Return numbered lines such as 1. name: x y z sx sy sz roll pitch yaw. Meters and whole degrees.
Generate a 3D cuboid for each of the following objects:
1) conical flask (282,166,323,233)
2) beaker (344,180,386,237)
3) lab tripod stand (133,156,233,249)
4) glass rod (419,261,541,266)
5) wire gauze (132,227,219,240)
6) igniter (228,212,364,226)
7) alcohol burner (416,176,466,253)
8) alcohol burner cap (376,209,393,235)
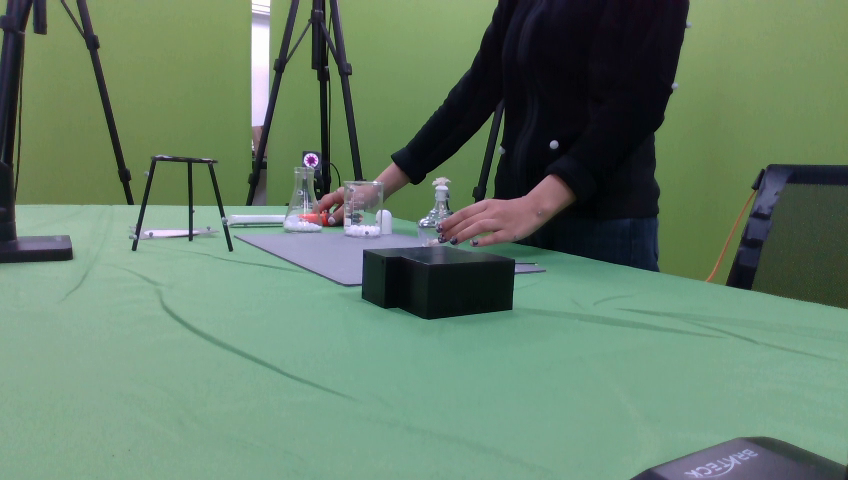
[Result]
1. conical flask: -0.225 -0.076 1.129 0.075 0.122 0.075 2 8 0
2. beaker: -0.111 -0.058 1.090 0.083 0.100 0.074 7 8 34
3. lab tripod stand: -0.342 -0.054 0.878 0.148 0.131 0.148 4 6 0
4. glass rod: 0.080 0.031 0.807 0.201 0.008 0.008 1 6 -32
5. wire gauze: -0.421 -0.014 1.024 0.122 0.011 0.124 -2 7 -34
6. igniter: -0.253 -0.043 1.228 0.278 0.025 0.057 -3 -5 -32
7. alcohol burner: 0.027 -0.040 0.934 0.078 0.119 0.078 3 9 0
8. alcohol burner cap: -0.075 -0.036 1.150 0.034 0.048 0.034 2 7 0
